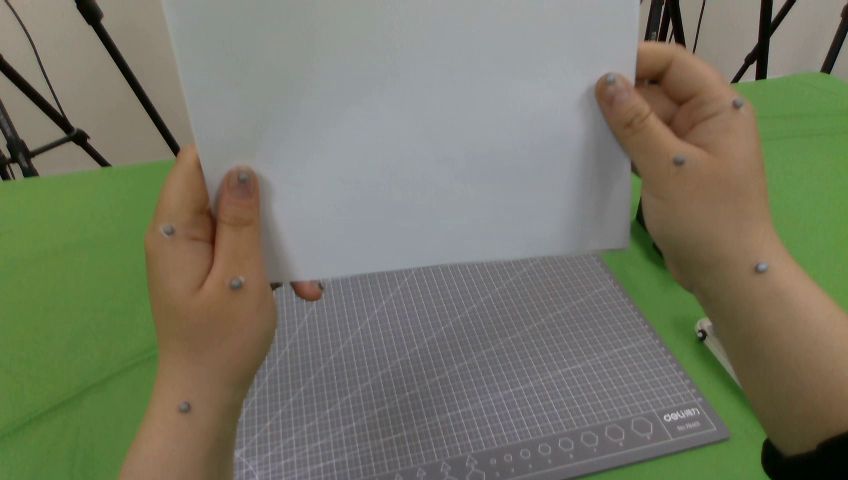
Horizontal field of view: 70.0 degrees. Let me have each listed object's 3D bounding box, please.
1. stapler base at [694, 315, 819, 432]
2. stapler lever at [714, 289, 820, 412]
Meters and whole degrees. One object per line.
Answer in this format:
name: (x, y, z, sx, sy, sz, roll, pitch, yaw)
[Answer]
stapler base: (0.296, 0.110, 0.544, 0.041, 0.024, 0.129, -11, 40, -9)
stapler lever: (0.296, 0.091, 0.527, 0.027, 0.040, 0.116, -11, 41, -9)
